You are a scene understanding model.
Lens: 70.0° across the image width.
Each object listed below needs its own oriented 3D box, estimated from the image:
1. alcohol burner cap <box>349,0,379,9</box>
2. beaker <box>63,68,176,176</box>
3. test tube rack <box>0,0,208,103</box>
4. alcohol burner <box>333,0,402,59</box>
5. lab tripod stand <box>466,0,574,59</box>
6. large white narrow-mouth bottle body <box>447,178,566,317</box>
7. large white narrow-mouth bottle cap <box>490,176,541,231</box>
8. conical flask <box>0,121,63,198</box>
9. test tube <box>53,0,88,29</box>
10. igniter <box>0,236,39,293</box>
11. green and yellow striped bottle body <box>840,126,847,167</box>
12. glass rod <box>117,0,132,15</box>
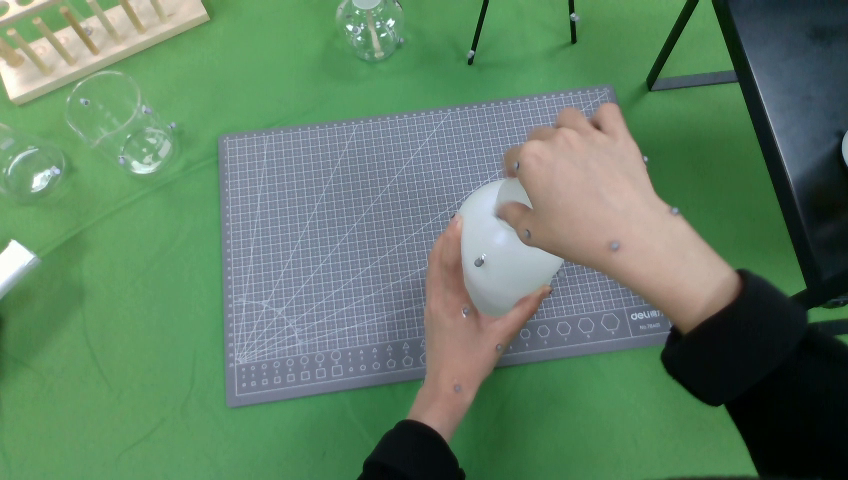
[{"bbox_3d":[-0.066,-0.271,0.636,0.034,0.048,0.033,0,69,0],"label":"alcohol burner cap"},{"bbox_3d":[-0.312,-0.116,0.631,0.074,0.101,0.083,7,71,4],"label":"beaker"},{"bbox_3d":[-0.384,-0.254,0.688,0.242,0.086,0.066,-28,72,-9],"label":"test tube rack"},{"bbox_3d":[-0.064,-0.258,0.670,0.078,0.120,0.077,0,69,0],"label":"alcohol burner"},{"bbox_3d":[0.105,-0.279,0.664,0.148,0.132,0.147,0,69,0],"label":"lab tripod stand"},{"bbox_3d":[0.071,0.002,0.533,0.102,0.196,0.101,0,72,2],"label":"large white narrow-mouth bottle body"},{"bbox_3d":[0.068,-0.026,0.443,0.038,0.024,0.037,0,72,1],"label":"large white narrow-mouth bottle cap"},{"bbox_3d":[-0.436,-0.099,0.615,0.075,0.122,0.075,0,70,1],"label":"conical flask"},{"bbox_3d":[-0.408,-0.280,0.644,0.017,0.151,0.017,-2,67,5],"label":"test tube"},{"bbox_3d":[-0.467,0.108,0.544,0.057,0.025,0.276,35,72,10],"label":"igniter"},{"bbox_3d":[0.349,-0.087,0.410,0.063,0.120,0.063,0,70,1],"label":"green and yellow striped bottle body"},{"bbox_3d":[-0.367,-0.313,0.638,0.008,0.201,0.008,-3,65,7],"label":"glass rod"}]
